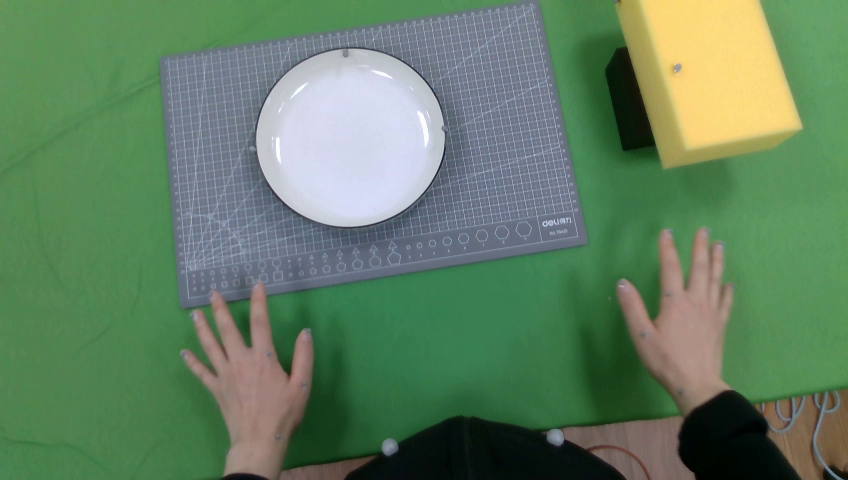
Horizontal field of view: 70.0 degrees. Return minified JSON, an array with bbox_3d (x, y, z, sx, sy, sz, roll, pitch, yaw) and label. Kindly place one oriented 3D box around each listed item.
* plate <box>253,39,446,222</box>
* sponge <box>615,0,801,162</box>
[{"bbox_3d":[-0.080,-0.118,0.670,0.209,0.038,0.208,0,80,0],"label":"plate"},{"bbox_3d":[0.283,-0.194,0.619,0.118,0.061,0.206,-12,80,-2],"label":"sponge"}]
